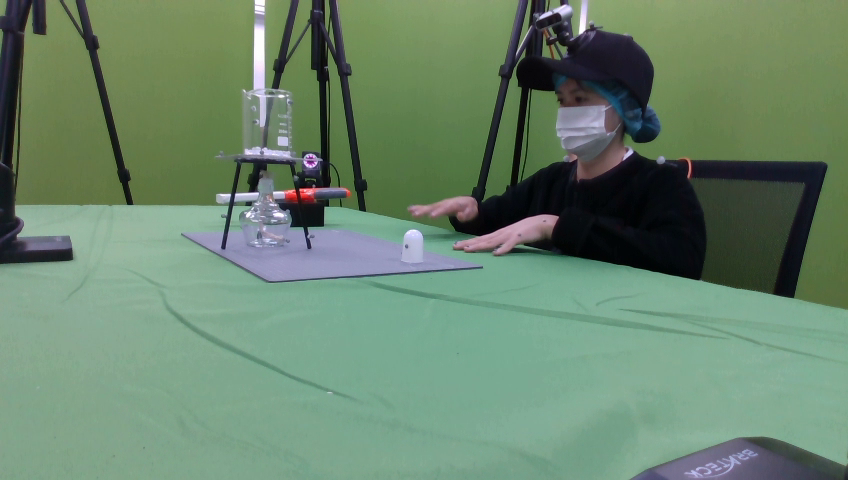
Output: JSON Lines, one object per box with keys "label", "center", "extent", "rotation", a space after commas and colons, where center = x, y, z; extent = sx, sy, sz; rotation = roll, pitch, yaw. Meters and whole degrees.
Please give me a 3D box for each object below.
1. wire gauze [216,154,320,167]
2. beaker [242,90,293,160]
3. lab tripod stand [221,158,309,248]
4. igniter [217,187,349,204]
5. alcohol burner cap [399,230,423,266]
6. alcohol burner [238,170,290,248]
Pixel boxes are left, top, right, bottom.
{"label": "wire gauze", "center": [-0.236, -0.121, 0.906], "extent": [0.126, 0.011, 0.121], "rotation": [0, 8, -33]}
{"label": "beaker", "center": [-0.235, -0.169, 0.900], "extent": [0.074, 0.100, 0.084], "rotation": [4, 7, 23]}
{"label": "lab tripod stand", "center": [-0.244, -0.057, 0.917], "extent": [0.148, 0.131, 0.148], "rotation": [1, 7, 0]}
{"label": "igniter", "center": [-0.285, -0.093, 1.256], "extent": [0.278, 0.025, 0.057], "rotation": [-6, 12, -34]}
{"label": "alcohol burner cap", "center": [-0.017, 0.010, 0.837], "extent": [0.034, 0.048, 0.034], "rotation": [3, 7, 0]}
{"label": "alcohol burner", "center": [-0.244, -0.048, 0.927], "extent": [0.078, 0.119, 0.078], "rotation": [3, 5, 0]}
